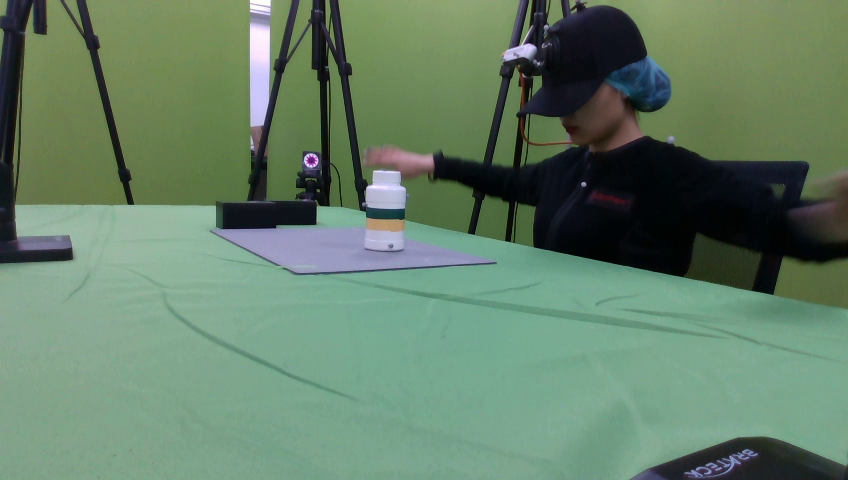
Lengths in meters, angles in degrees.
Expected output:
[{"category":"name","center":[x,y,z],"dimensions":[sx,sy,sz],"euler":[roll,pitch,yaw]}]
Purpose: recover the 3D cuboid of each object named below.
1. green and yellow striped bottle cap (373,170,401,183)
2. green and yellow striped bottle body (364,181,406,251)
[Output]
[{"category":"green and yellow striped bottle cap","center":[-0.057,-0.097,0.929],"dimensions":[0.045,0.020,0.045],"euler":[1,9,0]},{"category":"green and yellow striped bottle body","center":[-0.060,-0.046,0.935],"dimensions":[0.063,0.119,0.063],"euler":[3,8,0]}]
